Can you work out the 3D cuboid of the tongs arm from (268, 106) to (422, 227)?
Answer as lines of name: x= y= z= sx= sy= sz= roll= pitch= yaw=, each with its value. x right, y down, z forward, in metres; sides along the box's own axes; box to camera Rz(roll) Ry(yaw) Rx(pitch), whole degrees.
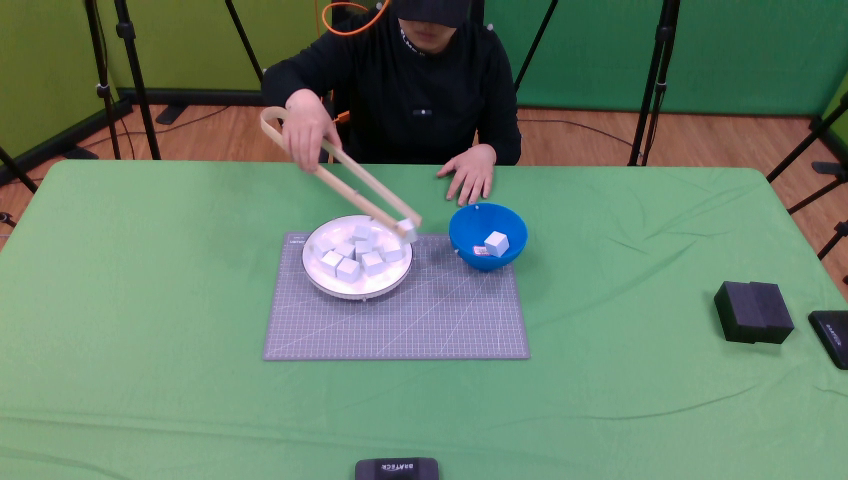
tongs arm: x=-0.149 y=-0.141 z=1.114 sx=0.386 sy=0.028 sz=0.028 roll=38 pitch=57 yaw=19

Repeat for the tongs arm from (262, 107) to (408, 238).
tongs arm: x=-0.166 y=-0.128 z=1.099 sx=0.383 sy=0.026 sz=0.050 roll=35 pitch=52 yaw=17

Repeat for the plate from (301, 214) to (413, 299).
plate: x=-0.124 y=0.033 z=1.143 sx=0.208 sy=0.039 sz=0.206 roll=2 pitch=46 yaw=-2

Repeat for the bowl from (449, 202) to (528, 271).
bowl: x=0.118 y=0.006 z=1.160 sx=0.151 sy=0.077 sz=0.150 roll=2 pitch=46 yaw=-2
